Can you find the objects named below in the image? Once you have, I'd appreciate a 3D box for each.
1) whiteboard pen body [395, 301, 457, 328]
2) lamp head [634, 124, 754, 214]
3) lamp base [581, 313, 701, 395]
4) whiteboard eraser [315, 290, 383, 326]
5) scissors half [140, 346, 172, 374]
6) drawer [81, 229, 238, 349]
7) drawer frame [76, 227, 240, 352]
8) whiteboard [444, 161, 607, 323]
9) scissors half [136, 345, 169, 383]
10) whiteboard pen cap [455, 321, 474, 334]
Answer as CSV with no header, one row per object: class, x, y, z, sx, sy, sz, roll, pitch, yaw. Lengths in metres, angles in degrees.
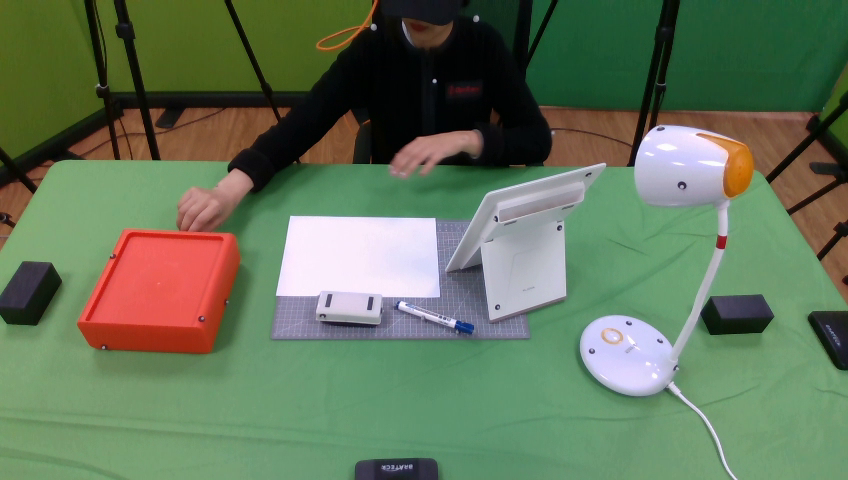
whiteboard pen body,0.015,0.134,1.064,0.140,0.017,0.017,17,47,16
lamp head,0.351,-0.089,0.775,0.112,0.113,0.122,-30,30,-28
lamp base,0.361,0.144,0.972,0.178,0.181,0.160,34,53,23
whiteboard eraser,-0.130,0.120,1.054,0.113,0.042,0.055,4,47,0
scissors half,-0.475,0.165,0.987,0.175,0.040,0.013,36,53,9
drawer,-0.445,0.080,1.046,0.194,0.073,0.210,3,47,-2
drawer frame,-0.444,0.081,1.044,0.202,0.083,0.212,3,47,-3
whiteboard,0.186,0.025,1.029,0.217,0.306,0.143,-14,68,-18
scissors half,-0.479,0.171,0.996,0.175,0.040,0.013,48,47,-3
whiteboard pen cap,0.069,0.151,1.046,0.033,0.018,0.018,14,47,16
